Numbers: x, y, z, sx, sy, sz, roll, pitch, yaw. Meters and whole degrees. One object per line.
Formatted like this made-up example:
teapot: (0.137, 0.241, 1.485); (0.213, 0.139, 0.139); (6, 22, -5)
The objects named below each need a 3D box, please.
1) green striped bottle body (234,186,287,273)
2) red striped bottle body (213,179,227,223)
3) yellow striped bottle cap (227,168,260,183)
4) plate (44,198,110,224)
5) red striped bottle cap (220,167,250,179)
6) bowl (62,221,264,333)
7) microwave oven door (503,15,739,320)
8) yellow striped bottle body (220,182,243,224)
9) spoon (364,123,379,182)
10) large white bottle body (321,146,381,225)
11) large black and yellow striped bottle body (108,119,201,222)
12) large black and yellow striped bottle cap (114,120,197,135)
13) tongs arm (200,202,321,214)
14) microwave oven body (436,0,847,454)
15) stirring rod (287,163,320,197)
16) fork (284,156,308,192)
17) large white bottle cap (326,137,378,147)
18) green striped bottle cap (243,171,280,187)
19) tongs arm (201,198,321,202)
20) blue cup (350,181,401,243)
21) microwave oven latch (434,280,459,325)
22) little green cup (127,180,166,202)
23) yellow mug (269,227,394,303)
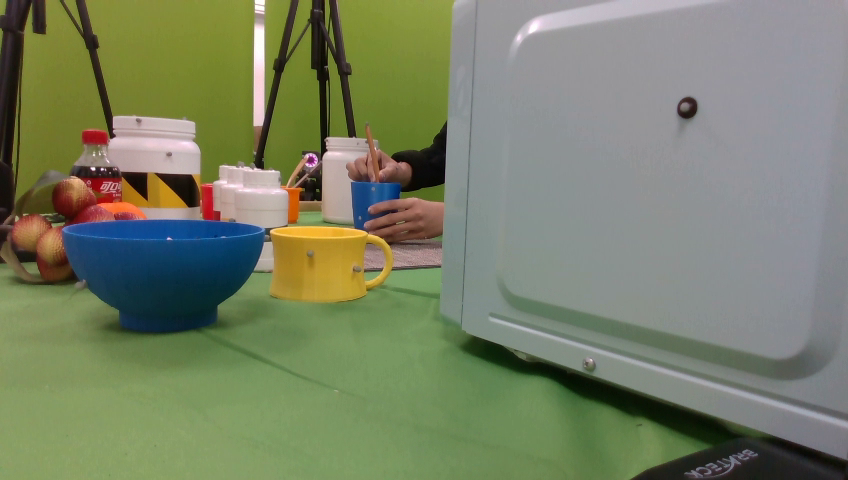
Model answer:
green striped bottle body: (-0.201, -0.023, 0.743); (0.063, 0.119, 0.063); (2, 7, 0)
red striped bottle body: (-0.284, -0.048, 0.910); (0.063, 0.119, 0.063); (3, 12, 0)
yellow striped bottle cap: (-0.243, -0.087, 0.818); (0.044, 0.018, 0.044); (3, 6, 0)
plate: (-0.617, -0.056, 1.179); (0.209, 0.038, 0.209); (3, 7, 0)
red striped bottle cap: (-0.281, -0.100, 0.901); (0.044, 0.017, 0.044); (0, 5, 0)
bowl: (-0.208, 0.029, 0.496); (0.151, 0.077, 0.151); (2, 7, 0)
microwave oven door: (0.218, -0.065, 0.600); (0.358, 0.243, 0.039); (-4, 10, -41)
yellow striped bottle body: (-0.246, -0.036, 0.825); (0.063, 0.120, 0.063); (3, 8, 0)
spoon: (-0.083, -0.105, 1.021); (0.021, 0.193, 0.041); (-6, -6, 4)
large white bottle body: (-0.162, -0.131, 1.340); (0.131, 0.184, 0.130); (2, 8, 0)
large black and yellow striped bottle body: (-0.412, -0.088, 0.930); (0.131, 0.184, 0.130); (3, 7, 0)
large black and yellow striped bottle cap: (-0.407, -0.171, 0.920); (0.115, 0.019, 0.115); (2, 9, 0)
tongs arm: (-0.378, -0.079, 1.440); (0.387, 0.026, 0.050); (-4, 8, -44)
microwave oven body: (0.279, -0.040, 0.465); (0.444, 0.260, 0.324); (-3, 9, -41)
stirring rod: (-0.283, -0.107, 1.298); (0.014, 0.006, 0.176); (10, 52, 51)
fork: (-0.295, -0.116, 1.323); (0.028, 0.019, 0.207); (1, 50, 21)
large white bottle cap: (-0.158, -0.214, 1.329); (0.115, 0.018, 0.115); (2, 8, 0)
green striped bottle cap: (-0.198, -0.074, 0.736); (0.044, 0.020, 0.044); (1, 7, 0)
tongs arm: (-0.433, -0.090, 1.508); (0.390, 0.028, 0.028); (-1, 2, -29)
blue cup: (-0.082, -0.047, 1.013); (0.093, 0.100, 0.092); (1, 7, 0)
microwave oven latch: (0.044, 0.045, 0.470); (0.079, 0.029, 0.030); (-2, 8, -39)
little green cup: (-0.485, -0.086, 1.061); (0.061, 0.038, 0.061); (1, 7, 0)
yellow mug: (-0.094, 0.023, 0.629); (0.131, 0.064, 0.099); (0, 7, -22)
